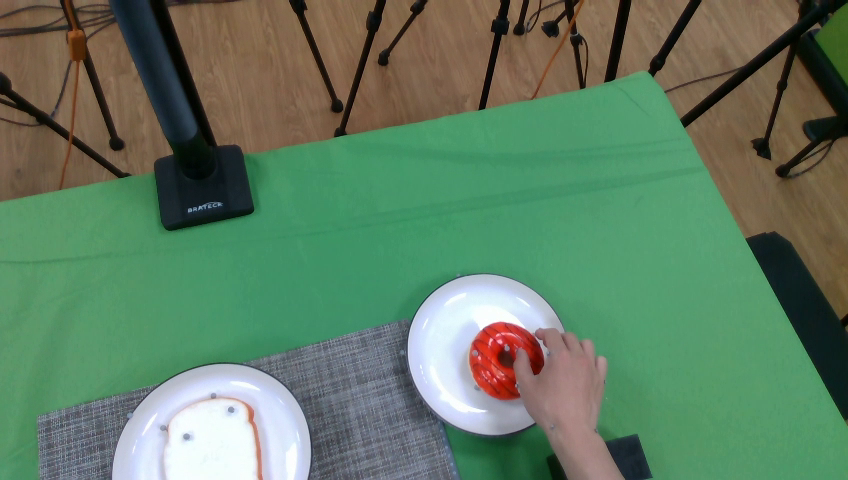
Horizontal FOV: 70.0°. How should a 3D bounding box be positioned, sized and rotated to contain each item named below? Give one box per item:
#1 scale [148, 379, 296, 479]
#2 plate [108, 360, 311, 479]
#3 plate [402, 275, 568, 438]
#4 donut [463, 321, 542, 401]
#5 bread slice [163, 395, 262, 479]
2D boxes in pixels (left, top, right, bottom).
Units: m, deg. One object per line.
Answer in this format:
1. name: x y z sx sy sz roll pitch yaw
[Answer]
1. scale: -0.223 0.266 0.680 0.149 0.032 0.199 -13 67 -11
2. plate: -0.227 0.236 0.658 0.209 0.038 0.207 2 65 -5
3. plate: 0.075 0.146 0.766 0.208 0.039 0.206 2 64 -4
4. donut: 0.098 0.150 0.753 0.099 0.048 0.098 3 67 -6
5. bread slice: -0.233 0.237 0.659 0.105 0.019 0.130 -9 66 -11
